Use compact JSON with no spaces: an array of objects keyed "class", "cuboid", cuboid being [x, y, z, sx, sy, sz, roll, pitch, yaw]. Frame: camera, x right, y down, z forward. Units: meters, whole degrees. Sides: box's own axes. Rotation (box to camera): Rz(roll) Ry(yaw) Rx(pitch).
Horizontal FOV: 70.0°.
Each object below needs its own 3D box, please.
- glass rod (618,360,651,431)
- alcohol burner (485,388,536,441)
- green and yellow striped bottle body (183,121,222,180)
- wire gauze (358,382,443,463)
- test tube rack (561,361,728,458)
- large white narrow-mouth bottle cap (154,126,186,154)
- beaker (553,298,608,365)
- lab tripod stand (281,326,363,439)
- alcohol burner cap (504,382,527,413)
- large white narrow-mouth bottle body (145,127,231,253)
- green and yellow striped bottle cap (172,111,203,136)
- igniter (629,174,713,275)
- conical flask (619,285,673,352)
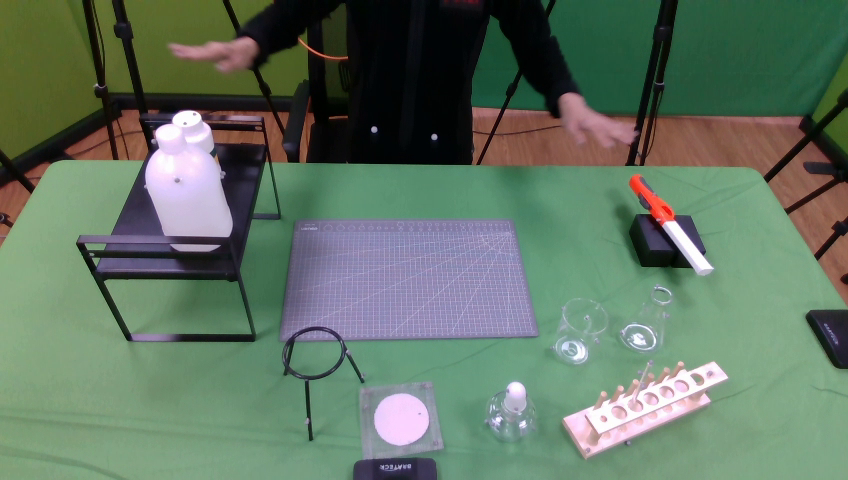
[{"class":"glass rod","cuboid":[0.298,0.227,0.865,0.008,0.201,0.008,-1,47,2]},{"class":"alcohol burner","cuboid":[0.131,0.249,0.904,0.078,0.120,0.077,1,48,-1]},{"class":"green and yellow striped bottle body","cuboid":[-0.375,-0.149,0.995,0.063,0.120,0.063,2,46,-2]},{"class":"wire gauze","cuboid":[-0.039,0.277,0.937,0.121,0.011,0.124,-4,47,-7]},{"class":"test tube rack","cuboid":[0.341,0.248,0.940,0.243,0.085,0.066,-15,49,-18]},{"class":"large white narrow-mouth bottle cap","cuboid":[-0.340,-0.134,0.812,0.038,0.024,0.037,2,48,-2]},{"class":"beaker","cuboid":[0.260,0.154,1.015,0.073,0.101,0.084,37,54,27]},{"class":"lab tripod stand","cuboid":[-0.166,0.202,0.913,0.148,0.132,0.147,1,47,-1]},{"class":"alcohol burner cap","cuboid":[0.133,0.225,0.877,0.034,0.048,0.033,-4,47,5]},{"class":"large white narrow-mouth bottle body","cuboid":[-0.345,-0.077,0.877,0.102,0.195,0.101,2,48,-2]},{"class":"green and yellow striped bottle cap","cuboid":[-0.374,-0.185,0.958,0.045,0.020,0.045,3,46,-3]},{"class":"igniter","cuboid":[0.481,-0.040,1.202,0.057,0.025,0.274,-2,46,-21]},{"class":"conical flask","cuboid":[0.385,0.130,1.031,0.075,0.122,0.075,2,46,-2]}]
